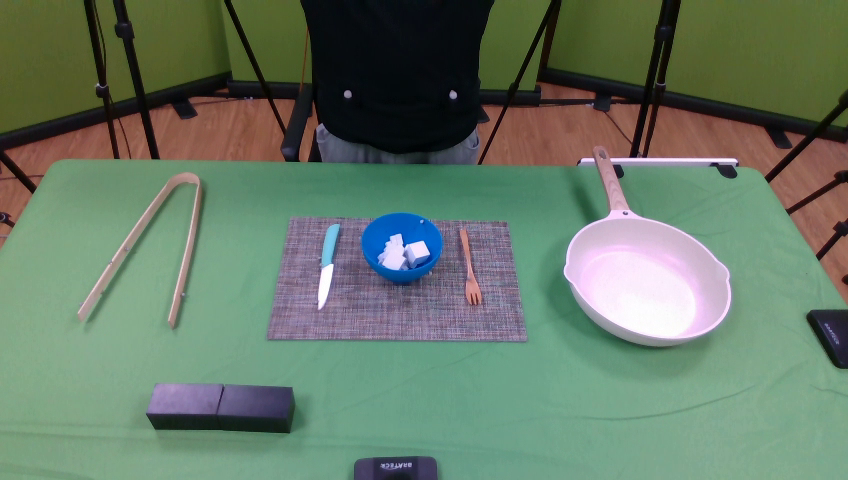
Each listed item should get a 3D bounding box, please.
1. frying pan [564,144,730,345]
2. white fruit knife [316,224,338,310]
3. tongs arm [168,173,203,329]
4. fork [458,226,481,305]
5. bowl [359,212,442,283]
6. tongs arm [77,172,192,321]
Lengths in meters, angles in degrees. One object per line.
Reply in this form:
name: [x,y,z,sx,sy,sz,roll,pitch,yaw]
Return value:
frying pan: [0.396,-0.008,1.179,0.307,0.103,0.484,0,55,-5]
white fruit knife: [-0.185,0.047,1.137,0.027,0.016,0.206,-5,47,7]
tongs arm: [-0.453,0.005,1.152,0.028,0.028,0.385,-5,47,-5]
fork: [0.083,0.044,1.159,0.028,0.019,0.206,-7,49,1]
bowl: [-0.045,0.026,1.124,0.151,0.077,0.150,2,46,-2]
tongs arm: [-0.535,-0.002,1.147,0.051,0.026,0.382,7,45,1]
